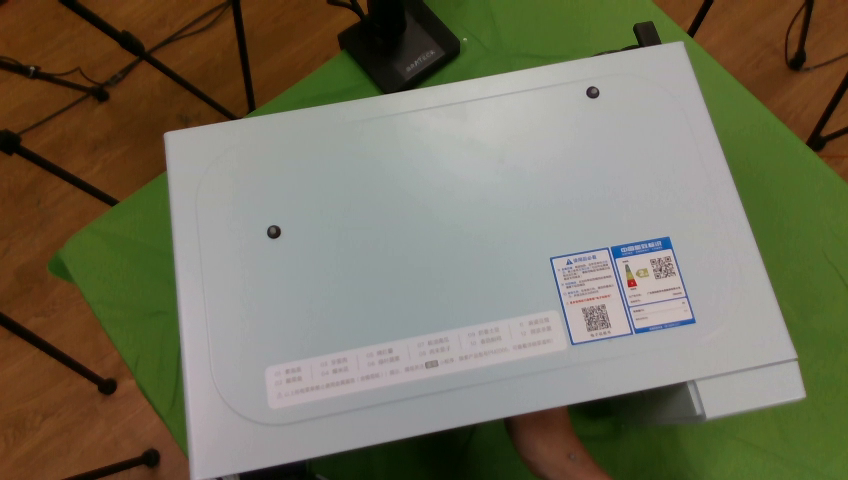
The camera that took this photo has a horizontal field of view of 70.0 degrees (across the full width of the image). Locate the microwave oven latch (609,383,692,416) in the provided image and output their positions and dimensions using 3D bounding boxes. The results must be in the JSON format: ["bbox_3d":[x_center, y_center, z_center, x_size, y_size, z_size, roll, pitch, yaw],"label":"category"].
[{"bbox_3d":[0.237,0.164,0.635,0.079,0.029,0.030,-9,74,-2],"label":"microwave oven latch"}]

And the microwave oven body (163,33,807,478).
[{"bbox_3d":[0.033,0.031,0.576,0.442,0.261,0.324,-11,74,-2],"label":"microwave oven body"}]

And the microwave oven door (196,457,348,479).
[{"bbox_3d":[0.003,0.275,0.497,0.355,0.245,0.039,25,76,8],"label":"microwave oven door"}]
